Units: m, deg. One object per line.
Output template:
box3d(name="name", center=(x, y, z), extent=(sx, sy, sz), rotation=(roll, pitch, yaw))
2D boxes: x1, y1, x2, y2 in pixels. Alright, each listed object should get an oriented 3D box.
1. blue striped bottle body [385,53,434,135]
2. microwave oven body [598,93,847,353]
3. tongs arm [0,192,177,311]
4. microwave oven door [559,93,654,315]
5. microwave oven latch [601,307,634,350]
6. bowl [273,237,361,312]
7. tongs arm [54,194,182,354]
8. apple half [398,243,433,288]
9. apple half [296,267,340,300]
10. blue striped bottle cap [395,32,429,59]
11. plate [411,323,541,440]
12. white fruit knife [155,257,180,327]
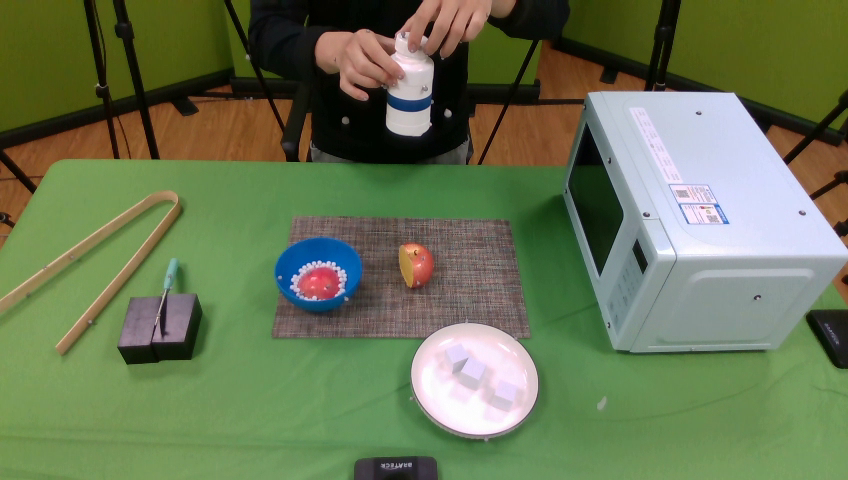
box3d(name="blue striped bottle body", center=(-0.020, -0.211, 0.829), extent=(0.063, 0.121, 0.062), rotation=(4, 38, -3))
box3d(name="microwave oven body", center=(0.475, -0.041, 1.109), extent=(0.326, 0.261, 0.438), rotation=(-1, 45, -4))
box3d(name="tongs arm", center=(-0.618, 0.019, 1.124), extent=(0.050, 0.026, 0.384), rotation=(23, 47, 16))
box3d(name="microwave oven door", center=(0.327, -0.074, 1.123), extent=(0.039, 0.245, 0.353), rotation=(0, 46, -5))
box3d(name="microwave oven latch", center=(0.331, 0.153, 1.044), extent=(0.030, 0.029, 0.078), rotation=(-2, 45, -5))
box3d(name="bowl", center=(-0.186, 0.074, 1.069), extent=(0.151, 0.077, 0.150), rotation=(3, 46, -3))
box3d(name="tongs arm", center=(-0.543, 0.048, 1.107), extent=(0.028, 0.028, 0.385), rotation=(11, 45, 10))
box3d(name="apple half", center=(-0.012, 0.046, 1.115), extent=(0.053, 0.075, 0.080), rotation=(-11, 44, -19))
box3d(name="apple half", center=(-0.187, 0.070, 1.067), extent=(0.081, 0.033, 0.081), rotation=(2, 47, -2))
box3d(name="blue striped bottle cap", center=(-0.015, -0.255, 0.794), extent=(0.044, 0.021, 0.044), rotation=(6, 37, -4))
box3d(name="plate", center=(0.082, 0.228, 0.976), extent=(0.208, 0.039, 0.206), rotation=(2, 45, -2))
box3d(name="white fruit knife", center=(-0.440, 0.085, 1.037), extent=(0.016, 0.027, 0.206), rotation=(10, 26, -19))
